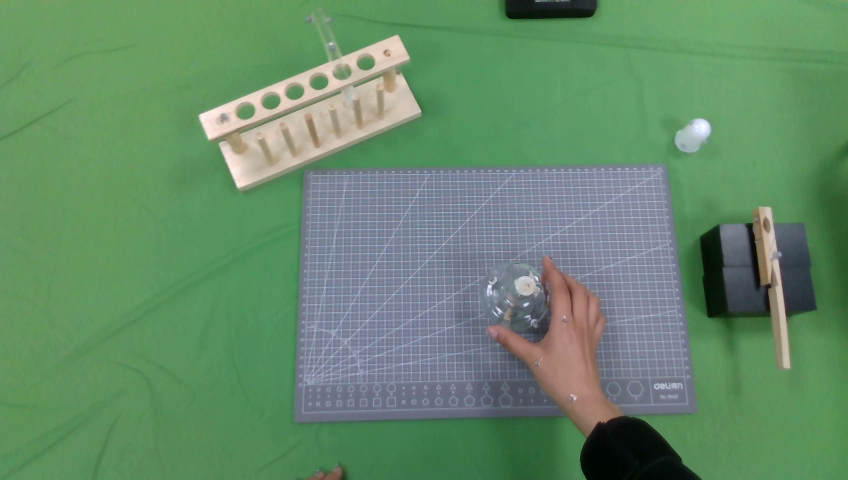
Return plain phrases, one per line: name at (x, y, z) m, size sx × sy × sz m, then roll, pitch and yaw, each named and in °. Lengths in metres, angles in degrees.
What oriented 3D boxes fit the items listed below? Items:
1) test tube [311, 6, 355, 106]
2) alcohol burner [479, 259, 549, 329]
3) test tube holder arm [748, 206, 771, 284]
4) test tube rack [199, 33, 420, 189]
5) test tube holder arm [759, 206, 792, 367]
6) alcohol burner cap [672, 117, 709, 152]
test tube at (-0.098, -0.200, 0.679) m, size 0.017 × 0.151 × 0.017 m, roll -3°, pitch 65°, yaw 7°
alcohol burner at (0.099, 0.055, 0.653) m, size 0.078 × 0.119 × 0.077 m, roll 0°, pitch 76°, yaw -1°
test tube holder arm at (0.375, 0.006, 0.674) m, size 0.010 × 0.015 × 0.087 m, roll -2°, pitch 77°, yaw -1°
test tube rack at (-0.128, -0.151, 0.720) m, size 0.242 × 0.085 × 0.066 m, roll -24°, pitch 77°, yaw -7°
test tube holder arm at (0.383, 0.049, 0.664) m, size 0.013 × 0.015 × 0.177 m, roll -3°, pitch 77°, yaw -2°
alcohol burner cap at (0.331, -0.132, 0.747) m, size 0.034 × 0.048 × 0.033 m, roll 0°, pitch 75°, yaw 0°
